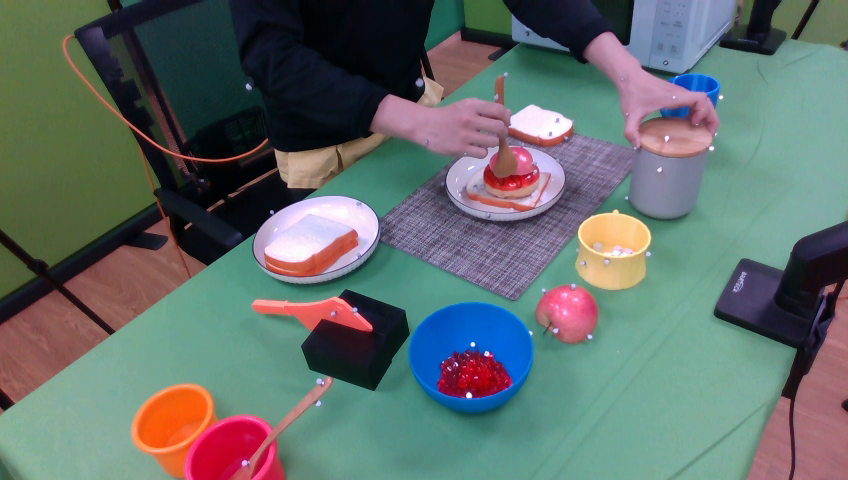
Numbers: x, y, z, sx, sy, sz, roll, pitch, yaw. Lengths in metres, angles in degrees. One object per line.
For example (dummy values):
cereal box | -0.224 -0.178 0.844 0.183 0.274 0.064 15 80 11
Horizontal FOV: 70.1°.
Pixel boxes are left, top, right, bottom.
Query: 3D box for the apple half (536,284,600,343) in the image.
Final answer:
apple half | 0.196 0.091 0.815 0.075 0.053 0.080 -22 42 -20

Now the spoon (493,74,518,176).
spoon | 0.114 -0.161 0.878 0.042 0.195 0.021 -18 48 -3

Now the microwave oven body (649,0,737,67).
microwave oven body | 0.475 -0.602 1.411 0.438 0.261 0.327 23 50 32

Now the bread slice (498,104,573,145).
bread slice | 0.231 -0.231 1.205 0.105 0.019 0.130 -36 47 -29

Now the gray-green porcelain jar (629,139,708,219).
gray-green porcelain jar | 0.384 -0.106 0.959 0.106 0.127 0.105 -4 41 4

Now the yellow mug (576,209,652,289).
yellow mug | 0.279 0.004 0.893 0.099 0.064 0.130 5 42 14

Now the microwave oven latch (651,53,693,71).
microwave oven latch | 0.532 -0.387 1.301 0.078 0.029 0.030 28 52 35

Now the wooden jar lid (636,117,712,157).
wooden jar lid | 0.377 -0.152 0.918 0.108 0.021 0.108 -2 40 3

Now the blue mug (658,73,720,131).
blue mug | 0.483 -0.250 1.127 0.082 0.106 0.115 -25 44 -19

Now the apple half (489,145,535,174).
apple half | 0.145 -0.138 0.995 0.081 0.033 0.081 -2 34 2

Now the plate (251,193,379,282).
plate | -0.174 -0.001 0.984 0.209 0.038 0.208 -4 40 4

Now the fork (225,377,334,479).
fork | -0.163 0.216 0.646 0.207 0.019 0.028 -49 42 16

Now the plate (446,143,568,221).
plate | 0.142 -0.097 1.045 0.207 0.039 0.206 -4 40 4

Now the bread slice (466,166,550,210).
bread slice | 0.141 -0.092 1.045 0.134 0.018 0.107 10 41 17

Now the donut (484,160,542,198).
donut | 0.149 -0.110 1.016 0.099 0.048 0.098 -4 41 4

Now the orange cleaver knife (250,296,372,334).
orange cleaver knife | -0.158 0.103 0.828 0.210 0.078 0.012 -4 43 39

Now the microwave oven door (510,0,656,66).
microwave oven door | 0.350 -0.539 1.348 0.353 0.245 0.039 24 50 31

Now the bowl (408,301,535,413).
bowl | 0.060 0.156 0.739 0.151 0.077 0.150 -4 40 4
